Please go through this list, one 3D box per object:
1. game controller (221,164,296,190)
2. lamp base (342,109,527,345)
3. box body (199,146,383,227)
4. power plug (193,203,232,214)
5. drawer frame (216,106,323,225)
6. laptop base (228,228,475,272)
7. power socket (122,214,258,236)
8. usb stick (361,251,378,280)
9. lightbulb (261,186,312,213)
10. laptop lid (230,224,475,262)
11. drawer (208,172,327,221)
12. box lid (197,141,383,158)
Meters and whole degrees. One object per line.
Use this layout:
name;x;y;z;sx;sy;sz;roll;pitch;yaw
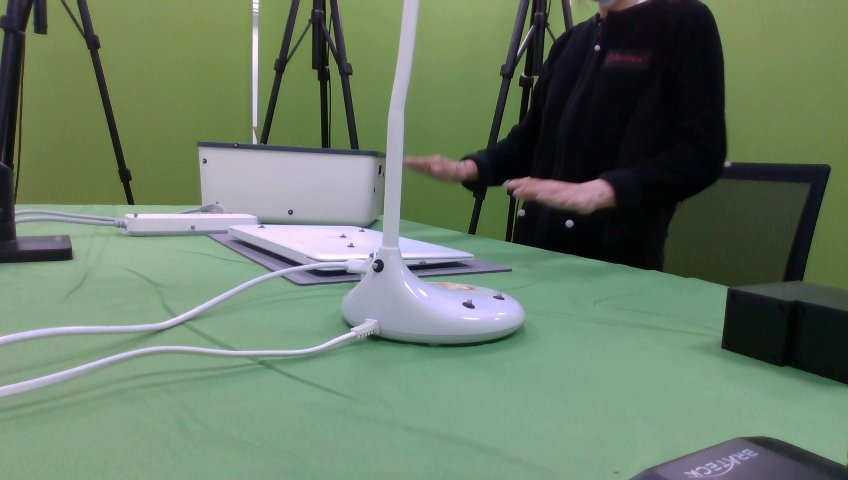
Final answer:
game controller;-0.363;-0.139;1.317;0.156;0.051;0.096;-1;10;-24
lamp base;0.006;-0.015;0.505;0.160;0.180;0.180;6;11;29
box body;-0.276;-0.124;1.335;0.364;0.160;0.254;3;7;1
power plug;-0.394;-0.043;1.139;0.072;0.052;0.035;-13;2;31
drawer frame;-0.311;-0.142;1.311;0.082;0.213;0.202;21;-19;29
laptop base;-0.122;0.011;0.889;0.237;0.023;0.352;1;6;-35
power socket;-0.398;-0.028;1.049;0.228;0.032;0.072;-3;8;-34
usb stick;-0.051;0.033;0.656;0.027;0.021;0.059;4;-27;-21
lightbulb;-0.294;-0.082;1.293;0.108;0.059;0.059;-14;13;-20
laptop lid;-0.119;0.000;0.889;0.243;0.013;0.355;1;7;-33
drawer;-0.334;-0.101;1.326;0.212;0.073;0.194;8;11;-1
box lid;-0.275;-0.197;1.326;0.372;0.015;0.263;4;8;1
